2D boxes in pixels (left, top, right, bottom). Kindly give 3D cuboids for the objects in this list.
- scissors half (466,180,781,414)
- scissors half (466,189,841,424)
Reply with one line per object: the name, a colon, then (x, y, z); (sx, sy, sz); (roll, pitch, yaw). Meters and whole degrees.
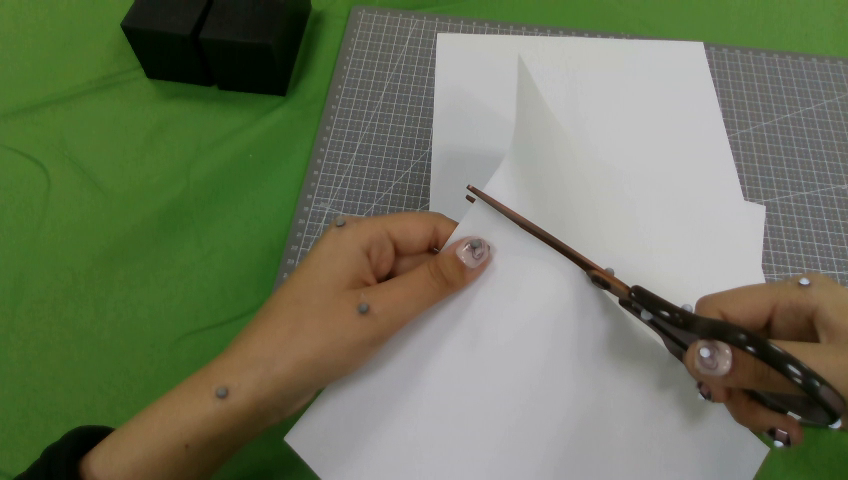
scissors half: (0.090, 0.024, 0.280); (0.175, 0.040, 0.013); (37, 85, -2)
scissors half: (0.088, 0.020, 0.259); (0.174, 0.040, 0.013); (33, 79, 24)
